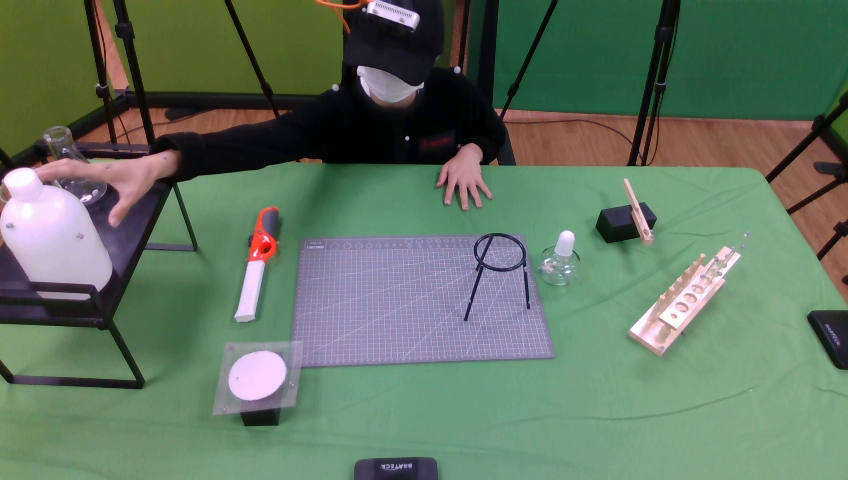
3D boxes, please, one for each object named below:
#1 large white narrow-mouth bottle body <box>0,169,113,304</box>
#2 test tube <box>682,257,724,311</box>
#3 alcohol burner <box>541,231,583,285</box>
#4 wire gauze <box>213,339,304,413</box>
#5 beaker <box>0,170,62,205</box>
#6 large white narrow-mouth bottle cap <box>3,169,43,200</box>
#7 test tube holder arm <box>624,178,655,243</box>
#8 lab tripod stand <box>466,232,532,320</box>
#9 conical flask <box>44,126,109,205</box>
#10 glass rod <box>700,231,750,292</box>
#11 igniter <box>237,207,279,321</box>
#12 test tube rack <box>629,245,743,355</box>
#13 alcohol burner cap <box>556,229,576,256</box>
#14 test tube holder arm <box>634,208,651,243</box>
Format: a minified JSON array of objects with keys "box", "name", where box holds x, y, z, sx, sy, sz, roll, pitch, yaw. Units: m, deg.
[{"box":[-0.492,-0.010,0.801,0.102,0.195,0.101,2,46,-2],"name":"large white narrow-mouth bottle body"},{"box":[0.475,0.080,1.037,0.017,0.151,0.017,2,51,-2],"name":"test tube"},{"box":[0.258,0.028,1.123,0.078,0.120,0.077,1,48,-1],"name":"alcohol burner"},{"box":[-0.250,0.203,0.924,0.121,0.011,0.124,-1,46,-3],"name":"wire gauze"},{"box":[-0.562,-0.042,0.894,0.084,0.101,0.073,-2,47,-7],"name":"beaker"},{"box":[-0.489,-0.068,0.739,0.038,0.024,0.037,2,46,-2],"name":"large white narrow-mouth bottle cap"},{"box":[0.432,-0.062,1.220,0.013,0.015,0.177,0,47,-2],"name":"test tube holder arm"},{"box":[0.124,0.059,1.065,0.148,0.132,0.147,1,45,0],"name":"lab tripod stand"},{"box":[-0.554,-0.119,0.954,0.075,0.122,0.075,2,46,-2],"name":"conical flask"},{"box":[0.518,0.045,1.050,0.008,0.200,0.008,0,55,0],"name":"glass rod"},{"box":[-0.309,0.036,1.136,0.057,0.025,0.274,-7,45,4],"name":"igniter"},{"box":[0.474,0.095,1.091,0.242,0.085,0.066,-34,56,-31],"name":"test tube rack"},{"box":[0.260,0.002,1.098,0.034,0.048,0.033,3,40,-2],"name":"alcohol burner cap"},{"box":[0.428,-0.029,1.189,0.010,0.015,0.087,0,47,-1],"name":"test tube holder arm"}]
